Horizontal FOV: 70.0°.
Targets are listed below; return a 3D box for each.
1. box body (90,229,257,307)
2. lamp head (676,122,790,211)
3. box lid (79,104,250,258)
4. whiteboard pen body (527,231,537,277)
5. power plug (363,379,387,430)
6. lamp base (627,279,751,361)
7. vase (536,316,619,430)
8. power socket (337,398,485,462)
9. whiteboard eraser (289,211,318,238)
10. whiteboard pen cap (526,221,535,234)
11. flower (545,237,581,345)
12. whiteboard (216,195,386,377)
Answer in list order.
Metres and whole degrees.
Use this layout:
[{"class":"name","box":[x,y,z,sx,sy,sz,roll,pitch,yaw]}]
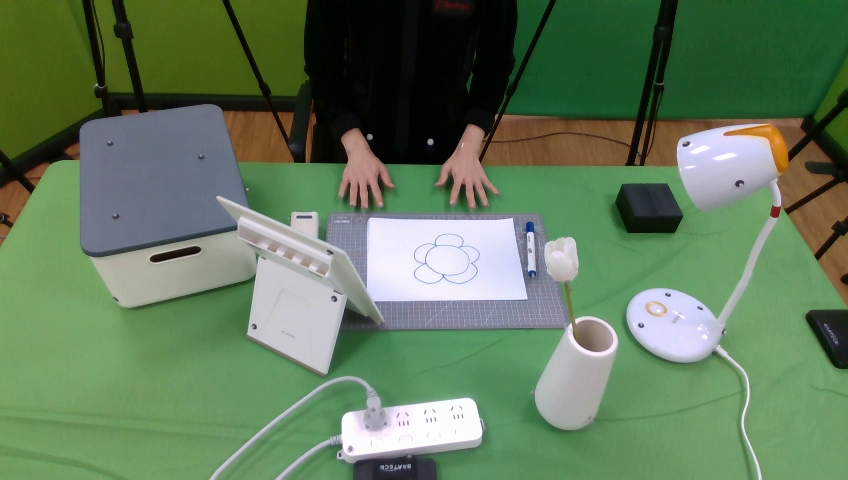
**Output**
[{"class":"box body","box":[-0.471,-0.070,1.131,0.254,0.161,0.361,-14,49,-17]},{"class":"lamp head","box":[0.423,-0.104,0.819,0.122,0.113,0.112,-13,33,40]},{"class":"box lid","box":[-0.467,-0.121,1.075,0.264,0.015,0.369,-13,49,-17]},{"class":"whiteboard pen body","box":[0.211,0.018,1.191,0.017,0.017,0.140,6,44,2]},{"class":"power plug","box":[-0.071,0.252,0.911,0.035,0.053,0.072,3,40,0]},{"class":"lamp base","box":[0.460,0.100,1.027,0.178,0.181,0.160,27,51,17]},{"class":"vase","box":[0.229,0.200,0.901,0.098,0.201,0.097,3,46,-3]},{"class":"power socket","box":[-0.018,0.285,0.914,0.227,0.033,0.071,-4,46,-8]},{"class":"whiteboard eraser","box":[-0.234,-0.007,1.172,0.055,0.042,0.112,-3,47,-5]},{"class":"whiteboard pen cap","box":[0.216,-0.022,1.234,0.018,0.018,0.033,6,44,1]},{"class":"flower","box":[0.213,0.137,0.846,0.038,0.364,0.044,21,55,40]},{"class":"whiteboard","box":[-0.212,0.094,0.938,0.216,0.307,0.143,24,70,17]}]
